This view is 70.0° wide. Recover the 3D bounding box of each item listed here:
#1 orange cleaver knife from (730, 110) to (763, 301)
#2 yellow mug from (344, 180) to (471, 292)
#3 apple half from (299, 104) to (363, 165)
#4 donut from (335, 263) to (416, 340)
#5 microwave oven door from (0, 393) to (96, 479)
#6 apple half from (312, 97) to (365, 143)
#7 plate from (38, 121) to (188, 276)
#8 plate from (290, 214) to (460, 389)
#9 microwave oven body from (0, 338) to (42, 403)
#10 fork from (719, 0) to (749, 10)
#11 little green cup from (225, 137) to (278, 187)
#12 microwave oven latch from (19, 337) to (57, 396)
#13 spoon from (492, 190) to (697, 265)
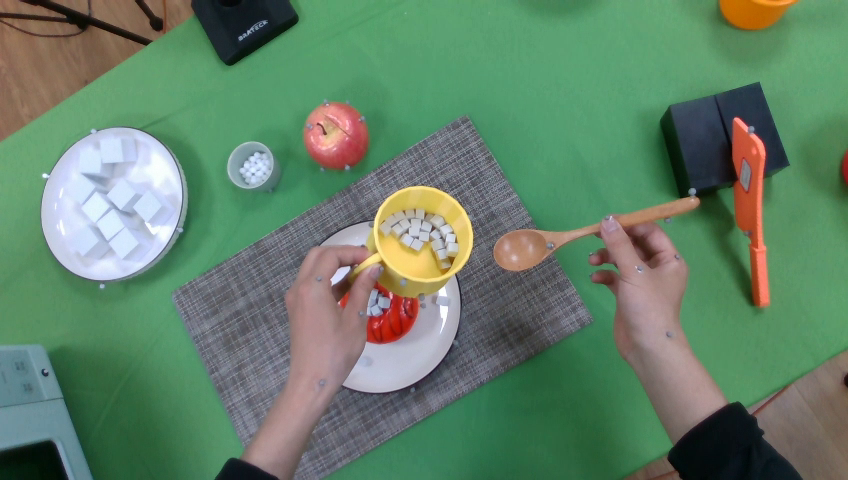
[{"bbox_3d":[0.352,-0.034,0.663,0.012,0.076,0.213,-12,114,9],"label":"orange cleaver knife"},{"bbox_3d":[-0.021,0.004,0.607,0.131,0.064,0.099,-29,82,-19],"label":"yellow mug"},{"bbox_3d":[-0.121,-0.124,0.755,0.080,0.075,0.053,39,95,8],"label":"apple half"},{"bbox_3d":[-0.058,0.070,0.723,0.099,0.048,0.099,-1,86,10],"label":"donut"},{"bbox_3d":[-0.421,0.343,0.641,0.039,0.245,0.354,-28,79,4],"label":"microwave oven door"},{"bbox_3d":[-0.097,-0.154,0.753,0.081,0.081,0.033,39,94,12],"label":"apple half"},{"bbox_3d":[-0.408,-0.054,0.808,0.207,0.039,0.207,-1,83,9],"label":"plate"},{"bbox_3d":[-0.058,0.073,0.735,0.209,0.038,0.208,-1,83,9],"label":"plate"},{"bbox_3d":[-0.568,0.375,0.665,0.326,0.261,0.440,-28,80,4],"label":"microwave oven body"},{"bbox_3d":[0.418,-0.321,0.654,0.207,0.019,0.028,-33,72,48],"label":"fork"},{"bbox_3d":[-0.220,-0.098,0.784,0.061,0.039,0.061,-1,83,9],"label":"little green cup"},{"bbox_3d":[-0.503,0.164,0.778,0.030,0.029,0.079,-26,81,4],"label":"microwave oven latch"},{"bbox_3d":[0.157,-0.014,0.573,0.193,0.022,0.041,-16,78,24],"label":"spoon"}]
